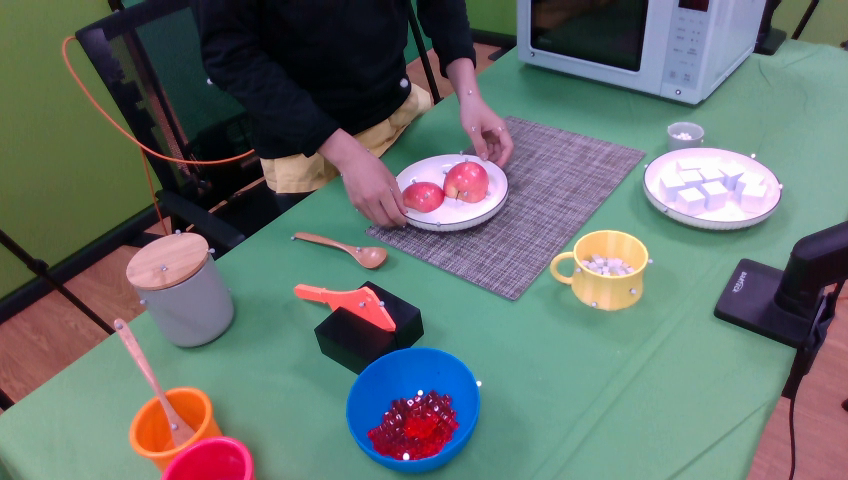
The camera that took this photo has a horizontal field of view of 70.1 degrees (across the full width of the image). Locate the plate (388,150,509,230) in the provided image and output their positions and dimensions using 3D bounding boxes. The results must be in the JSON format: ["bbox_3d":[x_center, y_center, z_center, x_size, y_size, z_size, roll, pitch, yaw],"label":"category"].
[{"bbox_3d":[0.044,-0.083,1.042,0.209,0.038,0.208,-4,41,4],"label":"plate"}]

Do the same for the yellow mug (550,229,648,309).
[{"bbox_3d":[0.245,0.040,0.856,0.130,0.064,0.099,1,42,11],"label":"yellow mug"}]

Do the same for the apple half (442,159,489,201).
[{"bbox_3d":[0.074,-0.110,1.047,0.080,0.053,0.075,21,45,30],"label":"apple half"}]

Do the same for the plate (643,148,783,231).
[{"bbox_3d":[0.464,-0.080,0.986,0.207,0.039,0.206,-4,41,4],"label":"plate"}]

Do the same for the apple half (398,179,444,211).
[{"bbox_3d":[-0.004,-0.088,1.045,0.081,0.033,0.081,-1,42,1],"label":"apple half"}]

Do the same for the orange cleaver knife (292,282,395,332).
[{"bbox_3d":[-0.116,0.091,0.835,0.209,0.077,0.012,2,32,48],"label":"orange cleaver knife"}]

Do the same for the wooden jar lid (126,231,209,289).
[{"bbox_3d":[-0.340,0.030,0.808,0.108,0.021,0.108,-5,39,5],"label":"wooden jar lid"}]

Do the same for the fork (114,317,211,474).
[{"bbox_3d":[-0.309,0.179,0.708,0.028,0.018,0.207,-30,89,-24],"label":"fork"}]

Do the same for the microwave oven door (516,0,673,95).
[{"bbox_3d":[0.344,-0.458,1.257,0.353,0.245,0.039,26,51,33],"label":"microwave oven door"}]

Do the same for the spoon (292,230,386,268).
[{"bbox_3d":[-0.141,0.007,0.982,0.192,0.022,0.041,17,67,25],"label":"spoon"}]

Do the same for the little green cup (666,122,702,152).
[{"bbox_3d":[0.471,-0.184,1.102,0.061,0.039,0.061,-5,41,5],"label":"little green cup"}]

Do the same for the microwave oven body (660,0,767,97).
[{"bbox_3d":[0.473,-0.517,1.313,0.438,0.261,0.327,26,52,34],"label":"microwave oven body"}]

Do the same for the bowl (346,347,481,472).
[{"bbox_3d":[-0.008,0.205,0.691,0.151,0.077,0.150,-4,40,4],"label":"bowl"}]

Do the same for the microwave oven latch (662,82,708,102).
[{"bbox_3d":[0.517,-0.298,1.203,0.078,0.029,0.030,28,52,35],"label":"microwave oven latch"}]

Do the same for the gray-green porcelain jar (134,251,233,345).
[{"bbox_3d":[-0.334,0.076,0.849,0.106,0.127,0.105,-4,41,4],"label":"gray-green porcelain jar"}]
